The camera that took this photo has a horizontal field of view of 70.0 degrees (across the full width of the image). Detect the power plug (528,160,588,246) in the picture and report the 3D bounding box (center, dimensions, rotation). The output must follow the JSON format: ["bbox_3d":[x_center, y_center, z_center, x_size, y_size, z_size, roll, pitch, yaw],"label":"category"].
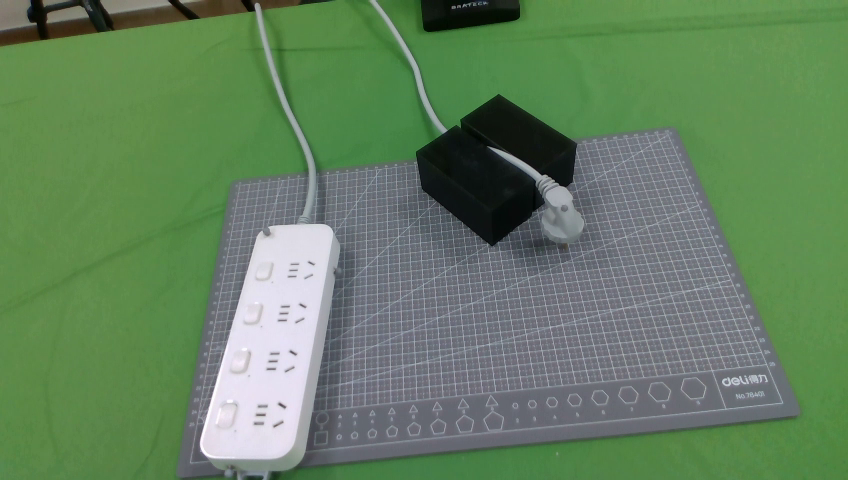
[{"bbox_3d":[0.115,-0.031,0.520,0.035,0.053,0.072,-11,55,-5],"label":"power plug"}]

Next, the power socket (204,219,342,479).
[{"bbox_3d":[-0.115,0.073,0.489,0.072,0.033,0.224,0,53,6],"label":"power socket"}]
